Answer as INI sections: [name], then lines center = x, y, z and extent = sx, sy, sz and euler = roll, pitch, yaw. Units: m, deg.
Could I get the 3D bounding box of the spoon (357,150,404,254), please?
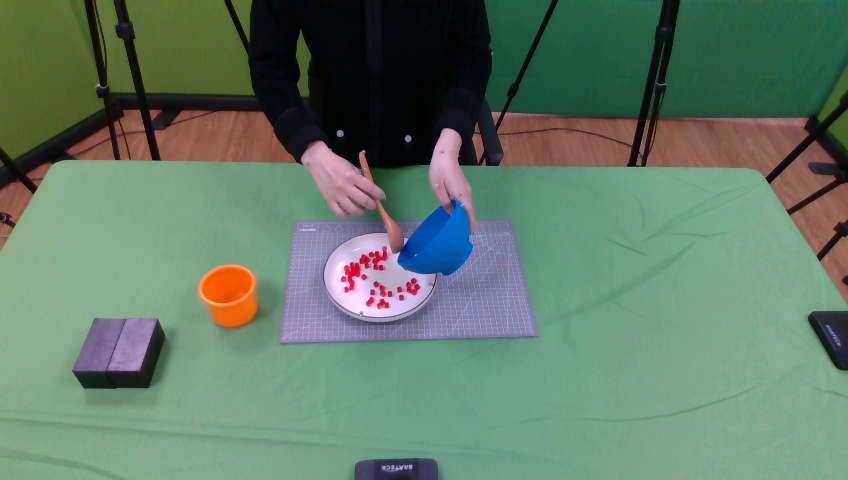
[spoon]
center = -0.076, -0.062, 1.036
extent = 0.021, 0.194, 0.041
euler = -6, 28, 41

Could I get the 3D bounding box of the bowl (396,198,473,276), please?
[bowl]
center = 0.031, 0.009, 1.038
extent = 0.077, 0.151, 0.151
euler = 42, 48, -13

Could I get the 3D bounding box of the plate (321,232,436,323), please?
[plate]
center = -0.083, 0.070, 1.109
extent = 0.209, 0.038, 0.208
euler = 3, 46, -2
